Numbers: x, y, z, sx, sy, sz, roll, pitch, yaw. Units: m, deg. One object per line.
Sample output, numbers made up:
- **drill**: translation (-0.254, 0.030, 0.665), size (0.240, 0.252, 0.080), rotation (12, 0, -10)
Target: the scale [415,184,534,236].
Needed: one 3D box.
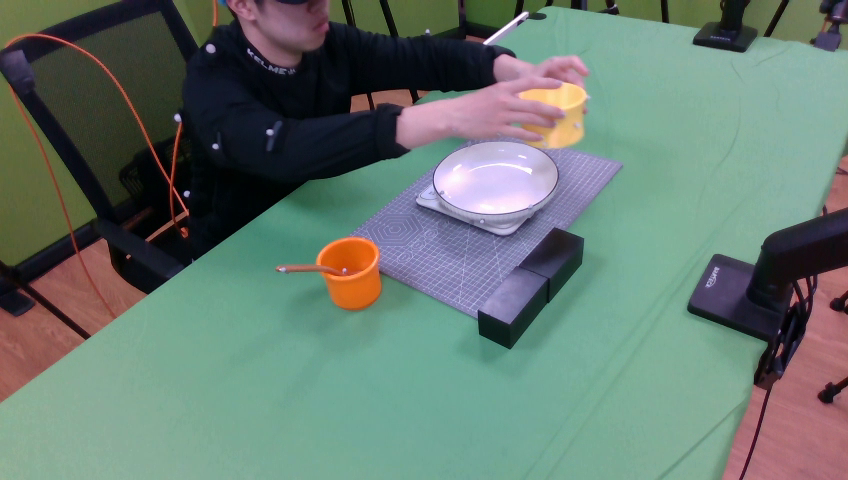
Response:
- **scale**: translation (0.099, -0.080, 1.035), size (0.199, 0.032, 0.149), rotation (23, 48, 31)

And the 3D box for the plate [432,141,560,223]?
- **plate**: translation (0.118, -0.094, 0.999), size (0.209, 0.038, 0.208), rotation (-4, 41, 4)

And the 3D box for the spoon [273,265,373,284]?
- **spoon**: translation (-0.136, 0.045, 0.839), size (0.041, 0.195, 0.021), rotation (18, 91, 33)

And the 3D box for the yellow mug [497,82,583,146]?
- **yellow mug**: translation (0.178, -0.194, 0.935), size (0.131, 0.064, 0.099), rotation (-6, 36, 2)
